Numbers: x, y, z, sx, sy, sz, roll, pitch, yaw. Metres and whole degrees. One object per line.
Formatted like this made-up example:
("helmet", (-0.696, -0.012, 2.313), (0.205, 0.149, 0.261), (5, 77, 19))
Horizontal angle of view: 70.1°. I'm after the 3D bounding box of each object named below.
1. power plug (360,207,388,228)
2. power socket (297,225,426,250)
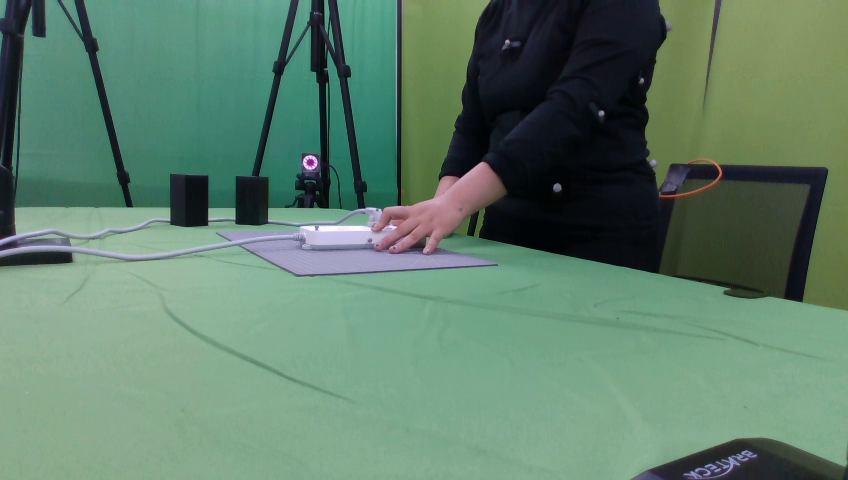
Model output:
("power plug", (-0.085, -0.029, 1.032), (0.035, 0.052, 0.072), (2, 5, -21))
("power socket", (-0.099, -0.006, 0.991), (0.228, 0.032, 0.072), (-2, 7, -31))
